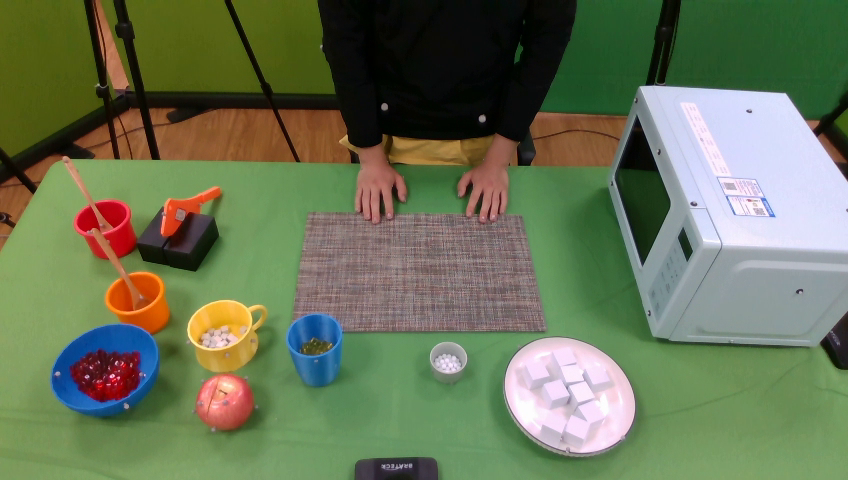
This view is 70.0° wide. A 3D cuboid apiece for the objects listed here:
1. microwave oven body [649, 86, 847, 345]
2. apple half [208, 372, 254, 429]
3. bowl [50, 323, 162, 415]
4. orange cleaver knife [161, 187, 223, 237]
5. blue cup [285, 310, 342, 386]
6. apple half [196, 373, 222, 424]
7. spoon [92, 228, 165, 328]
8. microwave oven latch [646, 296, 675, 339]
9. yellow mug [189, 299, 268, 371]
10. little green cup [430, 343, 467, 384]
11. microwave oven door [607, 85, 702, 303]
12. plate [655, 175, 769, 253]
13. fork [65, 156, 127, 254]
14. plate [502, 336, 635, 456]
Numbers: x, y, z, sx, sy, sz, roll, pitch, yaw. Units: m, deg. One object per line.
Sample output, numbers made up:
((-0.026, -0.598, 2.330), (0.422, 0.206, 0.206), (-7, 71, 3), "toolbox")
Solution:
((0.567, -0.053, 1.118), (0.326, 0.261, 0.439), (2, 45, -1), "microwave oven body")
((-0.283, 0.244, 0.908), (0.053, 0.075, 0.080), (7, 43, -1), "apple half")
((-0.472, 0.209, 0.924), (0.151, 0.077, 0.150), (3, 45, -2), "bowl")
((-0.448, -0.058, 1.180), (0.012, 0.077, 0.211), (13, 17, 6), "orange cleaver knife")
((-0.170, 0.179, 0.958), (0.093, 0.101, 0.092), (2, 44, -1), "blue cup")
((-0.322, 0.239, 0.907), (0.033, 0.081, 0.081), (7, 46, -1), "apple half")
((-0.496, 0.063, 1.014), (0.041, 0.194, 0.021), (-33, 12, -30), "spoon")
((0.412, 0.134, 1.061), (0.030, 0.029, 0.078), (4, 45, 1), "microwave oven latch")
((-0.316, 0.148, 1.002), (0.131, 0.064, 0.099), (-32, 56, -31), "yellow mug")
((0.039, 0.203, 0.994), (0.061, 0.039, 0.061), (2, 46, -2), "little green cup")
((0.423, -0.094, 1.141), (0.039, 0.245, 0.353), (2, 46, -1), "microwave oven door")
((0.555, -0.046, 1.183), (0.209, 0.038, 0.208), (2, 46, -2), "plate")
((-0.614, -0.064, 1.130), (0.028, 0.018, 0.207), (-30, 97, -18), "fork")
((0.225, 0.248, 0.963), (0.208, 0.039, 0.206), (2, 46, -2), "plate")
